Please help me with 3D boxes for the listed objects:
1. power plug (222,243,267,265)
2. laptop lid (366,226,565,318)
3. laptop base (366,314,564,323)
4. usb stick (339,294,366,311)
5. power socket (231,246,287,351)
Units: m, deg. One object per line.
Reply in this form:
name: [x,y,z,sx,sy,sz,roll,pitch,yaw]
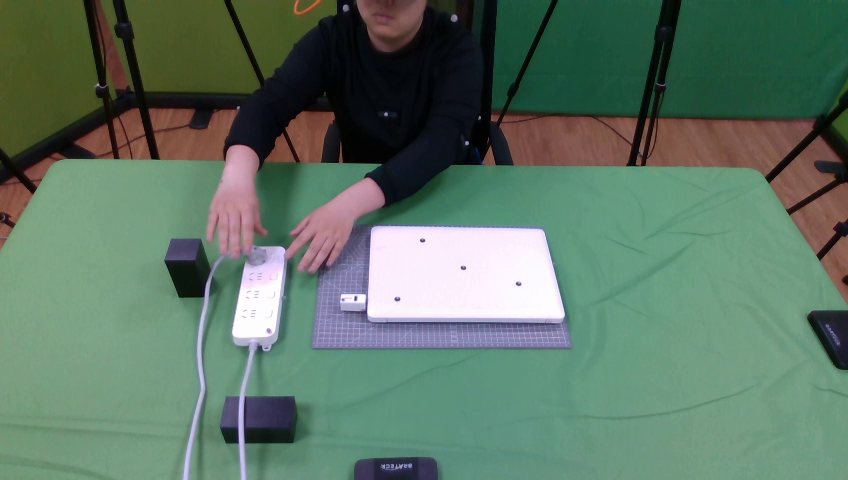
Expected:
power plug: [-0.324,0.027,1.112,0.072,0.053,0.035,7,46,5]
laptop lid: [0.072,0.054,1.137,0.357,0.013,0.240,2,44,-3]
laptop base: [0.071,0.064,1.144,0.355,0.023,0.234,1,43,-4]
usb stick: [-0.119,0.110,1.068,0.059,0.027,0.021,4,47,-5]
power socket: [-0.290,0.095,1.077,0.072,0.033,0.225,-1,46,-3]
